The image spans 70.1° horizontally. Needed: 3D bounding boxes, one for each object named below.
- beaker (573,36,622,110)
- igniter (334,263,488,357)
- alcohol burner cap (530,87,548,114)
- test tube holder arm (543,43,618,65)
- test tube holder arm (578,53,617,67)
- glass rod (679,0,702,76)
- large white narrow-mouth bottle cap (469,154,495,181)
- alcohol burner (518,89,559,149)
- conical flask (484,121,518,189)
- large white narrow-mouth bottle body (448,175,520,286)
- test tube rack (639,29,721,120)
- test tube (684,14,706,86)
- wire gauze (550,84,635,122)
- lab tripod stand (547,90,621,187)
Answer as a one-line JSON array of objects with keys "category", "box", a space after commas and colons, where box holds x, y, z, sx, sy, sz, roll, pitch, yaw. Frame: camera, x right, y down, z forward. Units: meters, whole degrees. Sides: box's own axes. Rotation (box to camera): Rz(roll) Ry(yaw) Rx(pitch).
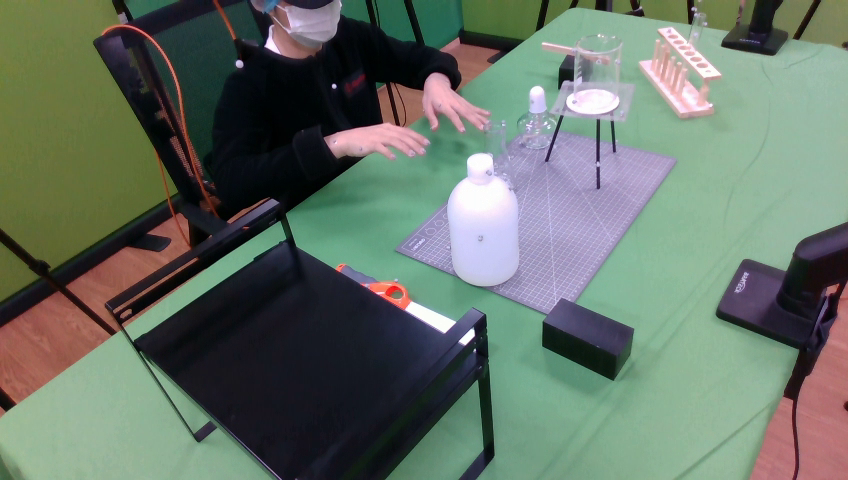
[{"category": "beaker", "box": [0.283, -0.273, 0.990, 0.073, 0.101, 0.084, 16, 46, 28]}, {"category": "igniter", "box": [-0.030, 0.095, 0.872, 0.274, 0.025, 0.057, 23, 60, 31]}, {"category": "alcohol burner cap", "box": [0.212, -0.262, 1.126, 0.034, 0.048, 0.033, -8, 37, 7]}, {"category": "test tube holder arm", "box": [0.345, -0.413, 1.341, 0.177, 0.015, 0.013, 25, 50, 32]}, {"category": "test tube holder arm", "box": [0.376, -0.393, 1.314, 0.087, 0.015, 0.010, 26, 50, 32]}, {"category": "glass rod", "box": [0.543, -0.417, 1.233, 0.008, 0.200, 0.008, 1, 39, 0]}, {"category": "large white narrow-mouth bottle cap", "box": [0.078, -0.098, 0.812, 0.038, 0.024, 0.037, -4, 40, 4]}, {"category": "alcohol burner", "box": [0.218, -0.235, 1.149, 0.078, 0.119, 0.077, -5, 43, 5]}, {"category": "conical flask", "box": [0.126, -0.145, 1.051, 0.075, 0.122, 0.075, -5, 41, 4]}, {"category": "large white narrow-mouth bottle body", "box": [0.086, -0.032, 0.868, 0.102, 0.195, 0.101, -4, 40, 4]}, {"category": "test tube rack", "box": [0.527, -0.351, 1.262, 0.067, 0.085, 0.241, -8, 40, 1]}, {"category": "test tube", "box": [0.540, -0.378, 1.215, 0.017, 0.151, 0.017, -2, 44, 3]}, {"category": "wire gauze", "box": [0.285, -0.234, 1.021, 0.124, 0.011, 0.121, 8, 41, 23]}, {"category": "lab tripod stand", "box": [0.289, -0.184, 1.062, 0.148, 0.132, 0.147, -6, 41, 6]}]
